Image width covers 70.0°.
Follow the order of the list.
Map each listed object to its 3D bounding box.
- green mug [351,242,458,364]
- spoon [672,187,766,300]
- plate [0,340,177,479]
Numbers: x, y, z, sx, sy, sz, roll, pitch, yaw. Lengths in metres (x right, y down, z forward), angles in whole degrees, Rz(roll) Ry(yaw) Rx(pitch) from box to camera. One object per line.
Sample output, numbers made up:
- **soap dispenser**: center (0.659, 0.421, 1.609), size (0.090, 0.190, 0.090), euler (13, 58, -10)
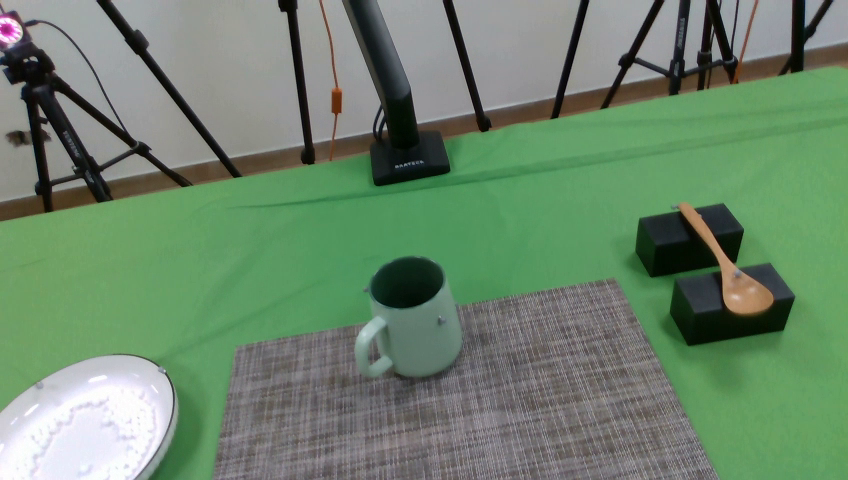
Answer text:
- **green mug**: center (-0.025, 0.076, 0.622), size (0.091, 0.106, 0.125), euler (26, 53, 34)
- **spoon**: center (0.301, -0.004, 0.636), size (0.041, 0.022, 0.191), euler (-22, 39, 14)
- **plate**: center (-0.351, 0.193, 0.614), size (0.209, 0.038, 0.207), euler (-6, 41, 5)
